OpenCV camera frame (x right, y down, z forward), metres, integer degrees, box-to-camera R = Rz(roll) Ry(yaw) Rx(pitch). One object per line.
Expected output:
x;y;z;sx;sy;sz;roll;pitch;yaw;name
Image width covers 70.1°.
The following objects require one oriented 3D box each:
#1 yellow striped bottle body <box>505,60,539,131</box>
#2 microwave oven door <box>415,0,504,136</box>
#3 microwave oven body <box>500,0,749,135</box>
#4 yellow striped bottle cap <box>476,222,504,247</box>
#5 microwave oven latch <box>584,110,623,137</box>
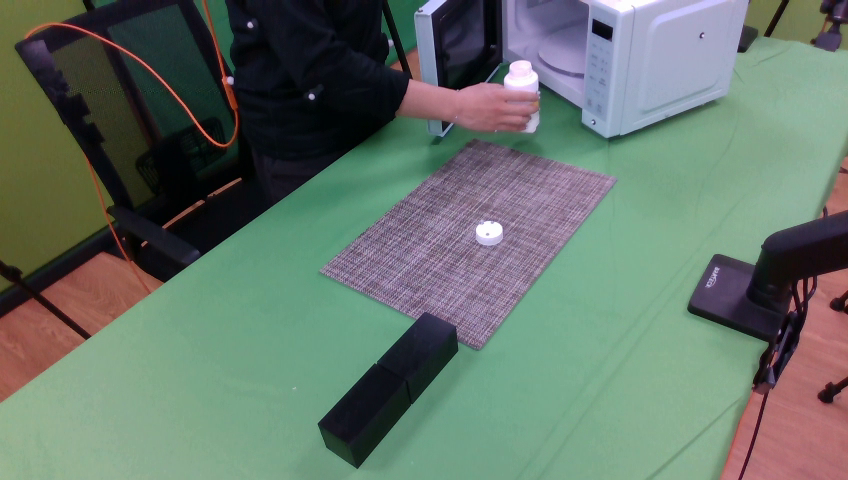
0.182;-0.270;1.123;0.063;0.121;0.062;-5;40;5;yellow striped bottle body
0.084;-0.409;1.239;0.039;0.245;0.356;13;45;23;microwave oven door
0.382;-0.444;1.246;0.327;0.261;0.437;-22;42;-16;microwave oven body
0.105;-0.010;0.966;0.044;0.019;0.044;-4;39;3;yellow striped bottle cap
0.337;-0.222;1.142;0.030;0.029;0.078;-21;42;-14;microwave oven latch
